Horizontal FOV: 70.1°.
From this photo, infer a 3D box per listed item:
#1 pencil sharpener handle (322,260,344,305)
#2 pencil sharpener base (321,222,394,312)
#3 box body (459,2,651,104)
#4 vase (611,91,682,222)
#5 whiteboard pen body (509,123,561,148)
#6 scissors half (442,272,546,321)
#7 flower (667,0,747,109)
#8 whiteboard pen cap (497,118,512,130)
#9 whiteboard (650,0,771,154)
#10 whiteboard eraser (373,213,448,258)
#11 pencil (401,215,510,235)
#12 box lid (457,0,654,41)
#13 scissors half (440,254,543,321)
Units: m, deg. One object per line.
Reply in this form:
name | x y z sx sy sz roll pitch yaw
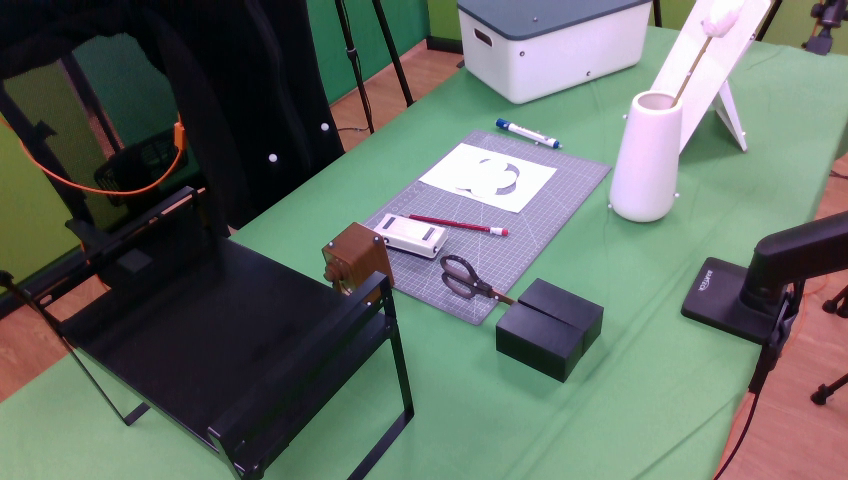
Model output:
pencil sharpener handle | -0.131 0.061 0.839 0.035 0.068 0.031 29 56 27
pencil sharpener base | -0.096 0.041 0.873 0.061 0.107 0.077 26 54 32
box body | 0.291 -0.465 1.371 0.365 0.161 0.252 -22 42 -16
vase | 0.348 -0.125 0.935 0.098 0.201 0.097 -3 40 3
whiteboard pen body | 0.209 -0.212 1.196 0.139 0.017 0.017 30 52 33
scissors half | 0.094 0.080 0.838 0.173 0.040 0.013 19 46 39
flower | 0.354 -0.187 0.879 0.038 0.362 0.044 30 48 14
whiteboard pen cap | 0.165 -0.235 1.227 0.033 0.018 0.018 31 53 31
whiteboard | 0.543 -0.298 1.076 0.144 0.305 0.216 12 40 -7
whiteboard eraser | -0.022 -0.005 0.965 0.112 0.042 0.055 15 44 24
pencil | 0.049 -0.027 1.007 0.193 0.012 0.012 10 43 21
box lid | 0.285 -0.522 1.323 0.373 0.015 0.261 -22 43 -16
scissors half | 0.092 0.065 0.825 0.174 0.040 0.013 32 58 25
